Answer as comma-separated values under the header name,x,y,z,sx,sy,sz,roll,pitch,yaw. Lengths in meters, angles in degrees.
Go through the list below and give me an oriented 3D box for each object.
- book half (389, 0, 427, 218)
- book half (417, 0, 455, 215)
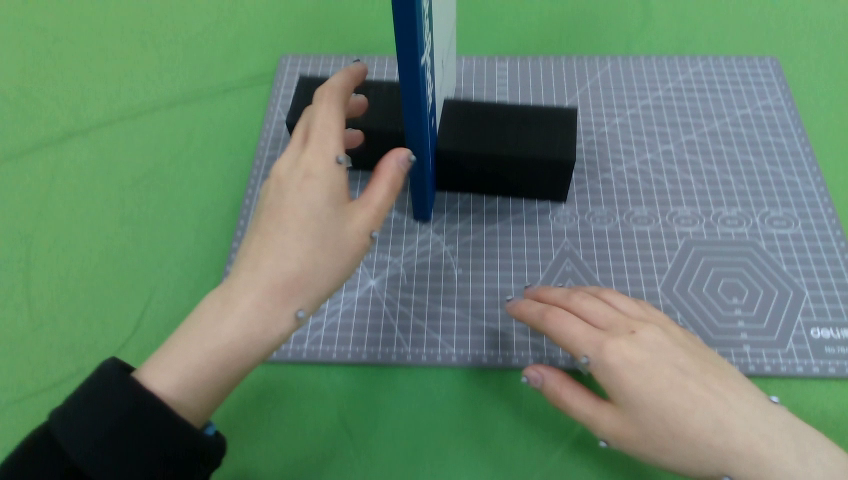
name,x,y,z,sx,sy,sz,roll,pitch,yaw
book half,0.002,-0.133,0.410,0.016,0.212,0.147,5,57,6
book half,0.009,-0.134,0.411,0.007,0.212,0.142,6,57,7
